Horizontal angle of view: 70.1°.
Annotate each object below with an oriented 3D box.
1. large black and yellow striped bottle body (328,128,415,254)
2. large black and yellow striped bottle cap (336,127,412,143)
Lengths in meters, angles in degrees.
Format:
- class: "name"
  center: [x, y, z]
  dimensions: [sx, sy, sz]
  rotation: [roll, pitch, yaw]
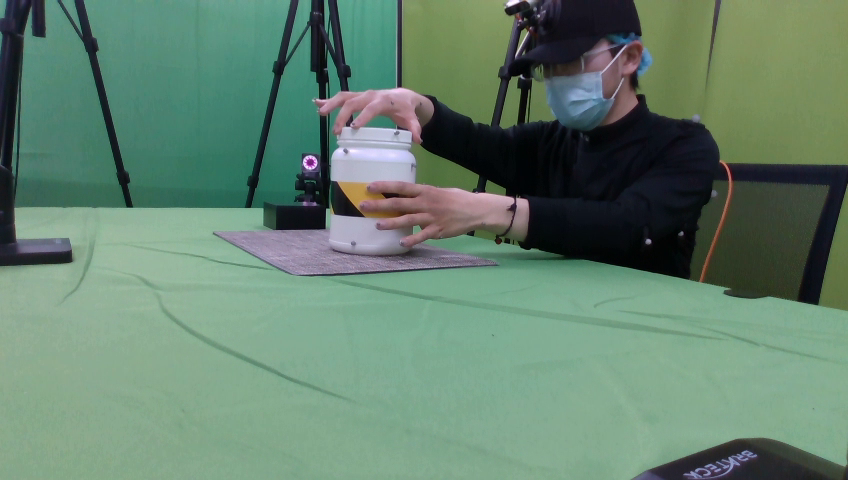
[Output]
- class: "large black and yellow striped bottle body"
  center: [-0.080, -0.077, 0.929]
  dimensions: [0.131, 0.184, 0.130]
  rotation: [2, 8, 0]
- class: "large black and yellow striped bottle cap"
  center: [-0.075, -0.160, 0.920]
  dimensions: [0.115, 0.019, 0.115]
  rotation: [3, 8, 0]
